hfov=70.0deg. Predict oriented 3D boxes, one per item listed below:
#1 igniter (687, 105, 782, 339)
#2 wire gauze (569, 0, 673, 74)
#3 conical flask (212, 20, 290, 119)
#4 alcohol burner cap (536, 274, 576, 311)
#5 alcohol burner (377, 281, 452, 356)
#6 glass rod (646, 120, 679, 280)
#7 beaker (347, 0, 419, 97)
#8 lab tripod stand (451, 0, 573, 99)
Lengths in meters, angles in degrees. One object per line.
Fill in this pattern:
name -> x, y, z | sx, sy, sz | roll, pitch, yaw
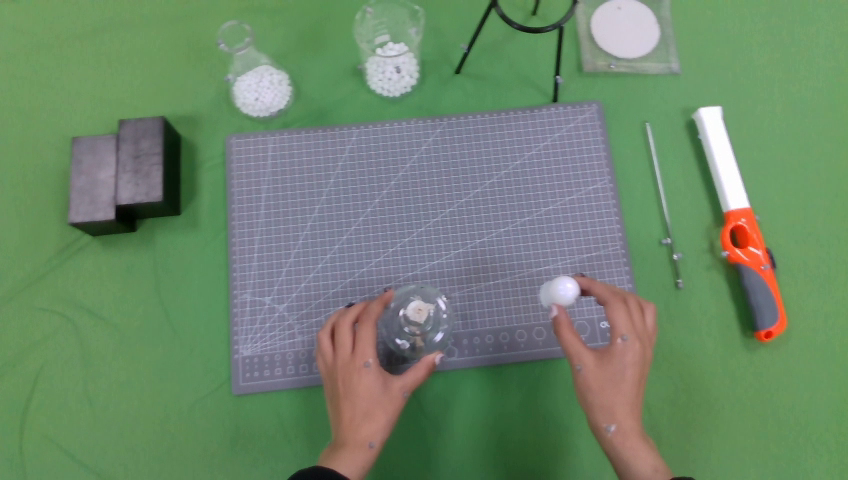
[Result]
igniter -> 0.354, -0.026, 0.691 | 0.057, 0.025, 0.275 | -7, 76, -13
wire gauze -> 0.246, -0.264, 0.758 | 0.125, 0.011, 0.121 | -1, 77, -3
conical flask -> -0.197, -0.193, 0.674 | 0.075, 0.122, 0.075 | 0, 75, 0
alcohol burner cap -> 0.128, 0.047, 0.575 | 0.034, 0.048, 0.033 | 1, 75, -4
alcohol burner -> -0.010, 0.077, 0.613 | 0.078, 0.119, 0.077 | 1, 74, -2
glass rod -> 0.278, -0.050, 0.708 | 0.008, 0.008, 0.198 | -3, 75, -2
beaker -> -0.042, -0.218, 0.695 | 0.084, 0.100, 0.073 | -32, 79, -9
lab tripod stand -> 0.105, -0.238, 0.684 | 0.148, 0.132, 0.147 | 0, 78, 0
